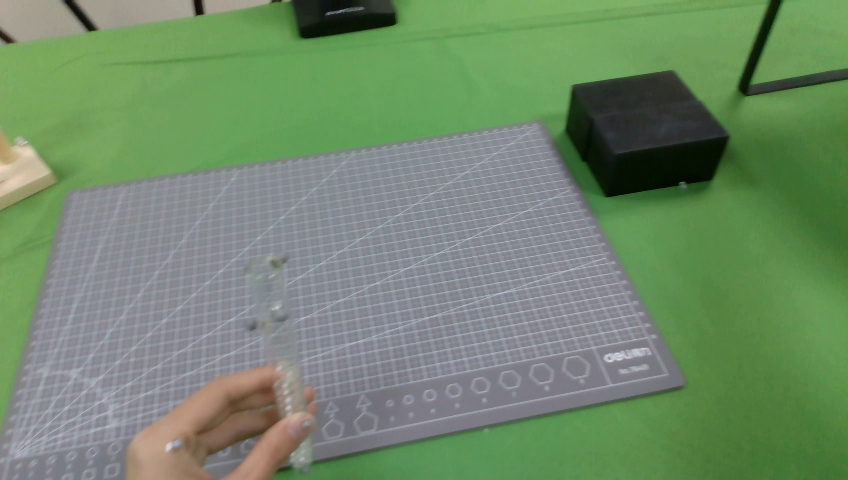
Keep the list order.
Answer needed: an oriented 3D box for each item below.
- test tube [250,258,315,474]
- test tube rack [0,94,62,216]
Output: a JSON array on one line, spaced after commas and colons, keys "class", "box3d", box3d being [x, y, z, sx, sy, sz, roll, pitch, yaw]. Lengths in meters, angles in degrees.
[{"class": "test tube", "box3d": [-0.070, 0.072, 0.308, 0.017, 0.151, 0.017, 1, 37, 0]}, {"class": "test tube rack", "box3d": [-0.449, -0.033, 0.496, 0.242, 0.086, 0.066, -36, 56, -26]}]
